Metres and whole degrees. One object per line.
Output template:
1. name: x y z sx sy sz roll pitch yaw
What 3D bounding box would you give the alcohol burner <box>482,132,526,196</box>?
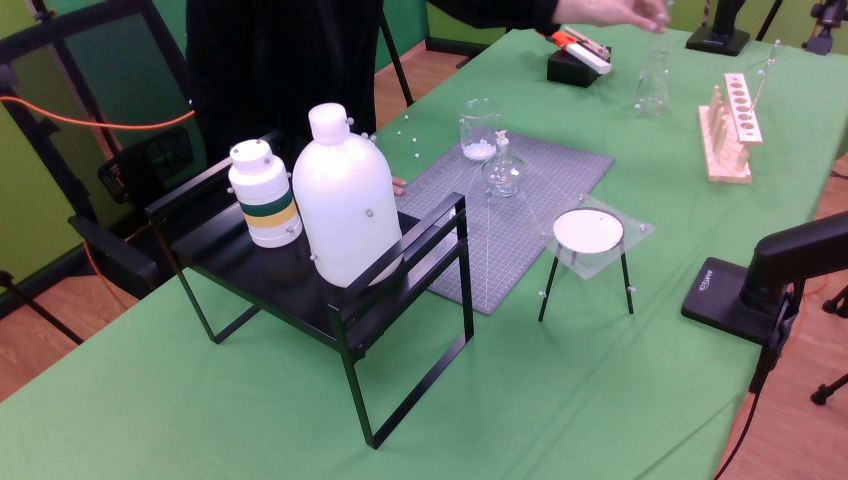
1. alcohol burner: 0.137 -0.136 1.042 0.078 0.119 0.077 -4 43 4

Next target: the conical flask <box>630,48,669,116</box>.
1. conical flask: 0.456 -0.317 1.205 0.075 0.122 0.075 -4 41 4

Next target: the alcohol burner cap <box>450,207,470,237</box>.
1. alcohol burner cap: 0.057 -0.032 0.987 0.034 0.048 0.033 -4 41 4

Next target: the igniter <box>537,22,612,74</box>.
1. igniter: 0.330 -0.439 1.366 0.057 0.025 0.274 -11 41 -19

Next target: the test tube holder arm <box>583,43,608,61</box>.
1. test tube holder arm: 0.379 -0.420 1.341 0.010 0.015 0.087 -39 41 10

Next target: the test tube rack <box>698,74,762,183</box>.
1. test tube rack: 0.547 -0.208 1.095 0.066 0.085 0.242 5 42 15

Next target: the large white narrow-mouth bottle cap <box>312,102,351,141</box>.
1. large white narrow-mouth bottle cap: -0.089 -0.113 0.579 0.038 0.024 0.037 -3 39 3

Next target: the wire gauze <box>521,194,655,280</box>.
1. wire gauze: 0.207 -0.012 0.772 0.122 0.011 0.124 -28 44 -20

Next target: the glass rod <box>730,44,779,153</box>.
1. glass rod: 0.555 -0.234 1.021 0.008 0.200 0.008 2 40 -1

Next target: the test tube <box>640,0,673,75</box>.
1. test tube: 0.400 -0.352 1.038 0.017 0.150 0.017 2 46 -1

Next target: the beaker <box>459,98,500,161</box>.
1. beaker: 0.104 -0.208 1.142 0.074 0.101 0.083 -20 42 -15

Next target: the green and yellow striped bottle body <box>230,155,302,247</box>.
1. green and yellow striped bottle body: -0.188 -0.055 0.714 0.063 0.120 0.063 -4 41 4

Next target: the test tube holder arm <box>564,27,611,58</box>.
1. test tube holder arm: 0.369 -0.450 1.373 0.013 0.015 0.177 -39 41 10

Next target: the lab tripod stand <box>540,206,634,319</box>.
1. lab tripod stand: 0.218 0.034 0.821 0.148 0.132 0.147 -4 43 4

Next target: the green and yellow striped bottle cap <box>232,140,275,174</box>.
1. green and yellow striped bottle cap: -0.192 -0.094 0.680 0.045 0.020 0.045 -5 39 5

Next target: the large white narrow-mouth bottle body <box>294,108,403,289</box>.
1. large white narrow-mouth bottle body: -0.082 -0.047 0.634 0.102 0.195 0.101 -4 40 4
